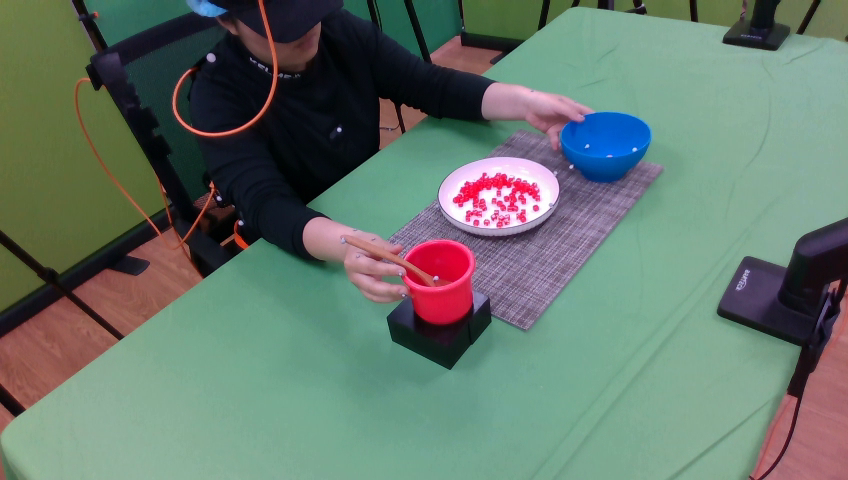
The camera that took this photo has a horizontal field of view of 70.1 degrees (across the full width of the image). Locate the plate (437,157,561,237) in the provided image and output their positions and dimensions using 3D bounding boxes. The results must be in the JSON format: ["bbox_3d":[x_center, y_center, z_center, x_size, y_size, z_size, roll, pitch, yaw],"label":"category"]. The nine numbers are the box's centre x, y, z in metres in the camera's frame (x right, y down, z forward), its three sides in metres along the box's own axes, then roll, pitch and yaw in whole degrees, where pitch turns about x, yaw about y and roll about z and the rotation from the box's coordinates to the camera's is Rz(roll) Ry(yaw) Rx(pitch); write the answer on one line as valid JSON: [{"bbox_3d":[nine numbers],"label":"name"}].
[{"bbox_3d":[0.127,-0.070,1.024,0.207,0.039,0.206,-5,40,5],"label":"plate"}]

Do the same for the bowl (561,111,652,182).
[{"bbox_3d":[0.314,-0.153,1.055,0.151,0.077,0.150,-5,40,5],"label":"bowl"}]

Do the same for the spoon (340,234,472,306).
[{"bbox_3d":[-0.020,0.036,0.771,0.195,0.021,0.041,31,37,-21],"label":"spoon"}]
